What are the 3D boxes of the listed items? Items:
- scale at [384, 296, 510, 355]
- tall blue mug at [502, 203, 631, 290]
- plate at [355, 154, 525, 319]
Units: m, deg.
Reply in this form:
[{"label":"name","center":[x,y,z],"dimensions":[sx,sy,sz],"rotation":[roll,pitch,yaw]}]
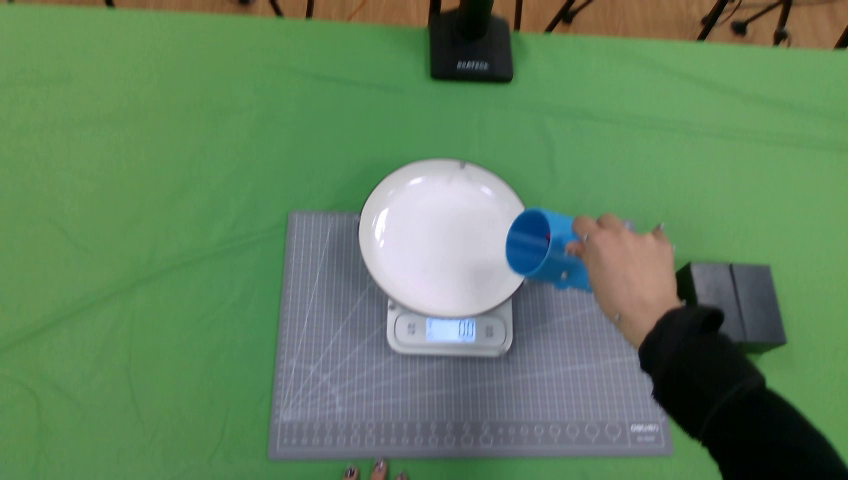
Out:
[{"label":"scale","center":[0.029,0.036,0.734],"dimensions":[0.149,0.032,0.199],"rotation":[3,67,-5]},{"label":"tall blue mug","center":[0.160,0.001,0.655],"dimensions":[0.109,0.107,0.077],"rotation":[14,49,-29]},{"label":"plate","center":[0.023,-0.003,0.715],"dimensions":[0.209,0.038,0.207],"rotation":[3,67,-6]}]
